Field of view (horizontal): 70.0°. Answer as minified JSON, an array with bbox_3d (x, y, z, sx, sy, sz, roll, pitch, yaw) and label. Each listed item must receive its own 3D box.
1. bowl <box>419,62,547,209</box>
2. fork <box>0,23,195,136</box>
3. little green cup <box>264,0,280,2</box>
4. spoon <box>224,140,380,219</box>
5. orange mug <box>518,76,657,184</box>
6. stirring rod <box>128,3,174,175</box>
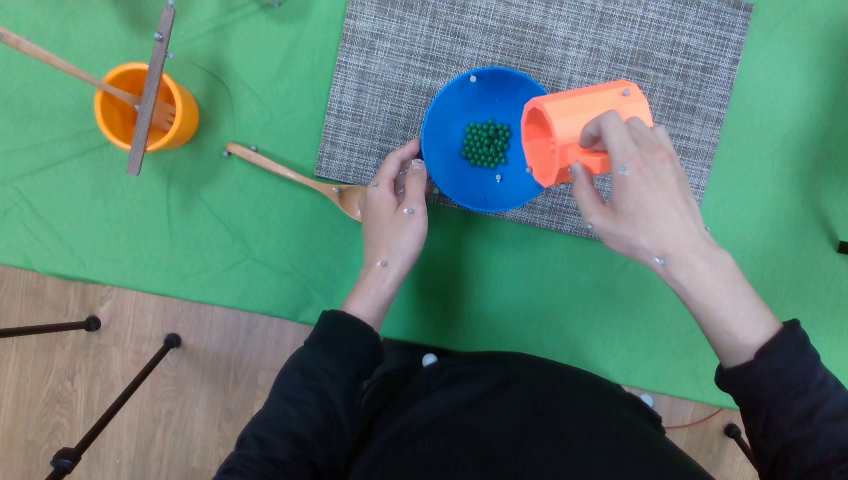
[{"bbox_3d":[0.069,-0.110,0.665,0.151,0.076,0.151,0,98,0],"label":"bowl"},{"bbox_3d":[-0.331,-0.162,0.619,0.209,0.018,0.028,27,100,-47],"label":"fork"},{"bbox_3d":[-0.171,-0.292,0.661,0.061,0.038,0.061,0,97,0],"label":"little green cup"},{"bbox_3d":[-0.140,-0.074,0.697,0.194,0.021,0.042,23,110,-4],"label":"spoon"},{"bbox_3d":[0.155,-0.098,0.571,0.101,0.125,0.084,-12,118,-6],"label":"orange mug"},{"bbox_3d":[-0.279,-0.153,0.619,0.014,0.006,0.176,14,97,-3],"label":"stirring rod"}]
